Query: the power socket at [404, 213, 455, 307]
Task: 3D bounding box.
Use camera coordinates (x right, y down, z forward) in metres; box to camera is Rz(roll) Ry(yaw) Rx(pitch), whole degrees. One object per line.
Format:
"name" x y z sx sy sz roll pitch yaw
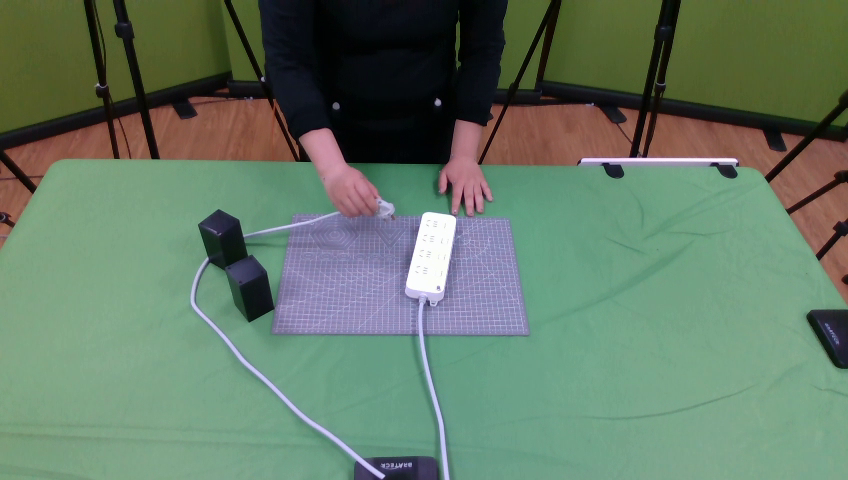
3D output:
"power socket" 0.013 0.029 1.159 0.072 0.033 0.225 8 46 5

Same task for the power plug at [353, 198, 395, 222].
"power plug" -0.089 -0.057 1.140 0.072 0.053 0.035 6 49 35
